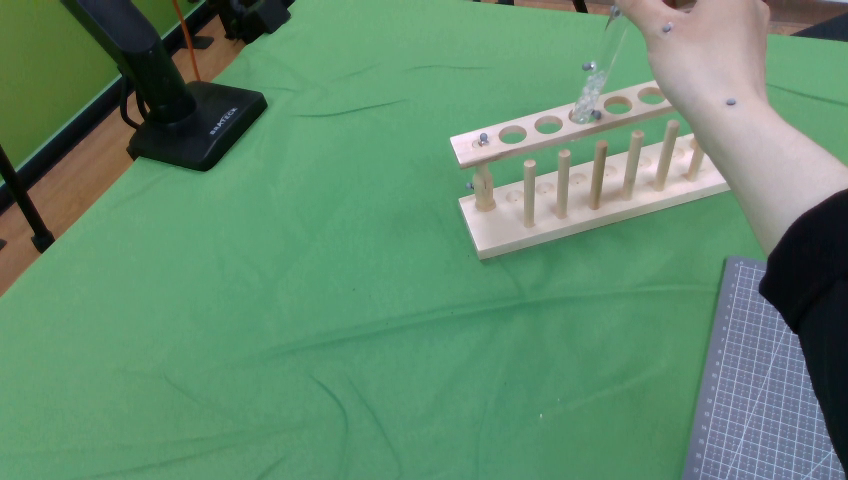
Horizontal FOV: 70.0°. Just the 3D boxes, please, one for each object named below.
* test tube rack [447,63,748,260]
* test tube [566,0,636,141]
[{"bbox_3d":[0.148,-0.065,0.507,0.242,0.086,0.066,-16,50,-3],"label":"test tube rack"},{"bbox_3d":[0.132,-0.136,0.451,0.017,0.151,0.017,7,45,-6],"label":"test tube"}]
